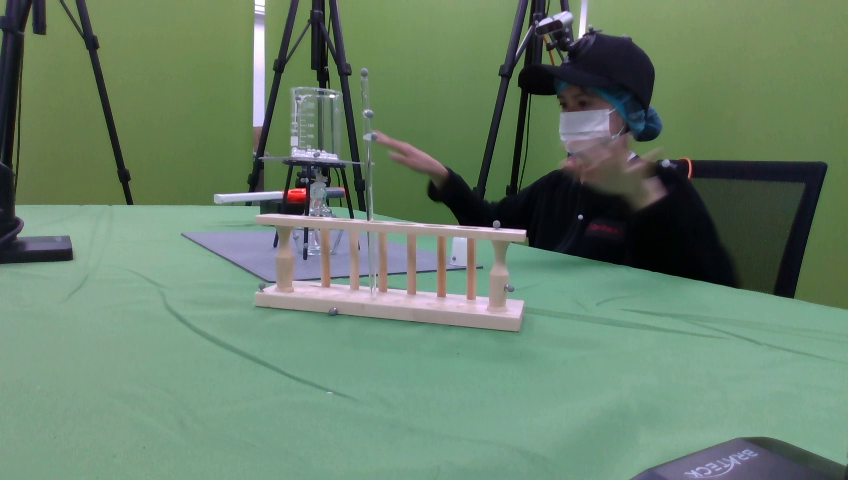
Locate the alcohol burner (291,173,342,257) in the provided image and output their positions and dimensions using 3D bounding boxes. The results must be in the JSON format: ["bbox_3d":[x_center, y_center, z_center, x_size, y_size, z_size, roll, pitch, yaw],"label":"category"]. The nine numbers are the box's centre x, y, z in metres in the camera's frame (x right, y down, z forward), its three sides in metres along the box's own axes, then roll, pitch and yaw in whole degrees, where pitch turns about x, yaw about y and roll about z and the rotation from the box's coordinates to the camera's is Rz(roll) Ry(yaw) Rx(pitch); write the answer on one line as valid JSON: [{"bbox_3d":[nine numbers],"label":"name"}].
[{"bbox_3d":[-0.155,-0.037,0.870,0.078,0.119,0.078,1,6,0],"label":"alcohol burner"}]

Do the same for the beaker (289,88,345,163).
[{"bbox_3d":[-0.157,-0.160,0.862,0.083,0.100,0.074,7,7,34],"label":"beaker"}]

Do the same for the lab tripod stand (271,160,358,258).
[{"bbox_3d":[-0.159,-0.048,0.876,0.148,0.131,0.148,3,5,0],"label":"lab tripod stand"}]

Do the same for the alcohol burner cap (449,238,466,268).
[{"bbox_3d":[0.051,0.014,0.828,0.034,0.048,0.034,3,5,0],"label":"alcohol burner cap"}]

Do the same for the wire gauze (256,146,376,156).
[{"bbox_3d":[-0.155,-0.128,0.871,0.124,0.011,0.122,2,7,36],"label":"wire gauze"}]

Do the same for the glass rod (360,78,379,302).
[{"bbox_3d":[-0.047,-0.038,0.526,0.008,0.199,0.008,-2,14,1],"label":"glass rod"}]

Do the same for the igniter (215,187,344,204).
[{"bbox_3d":[-0.290,-0.093,1.256,0.278,0.025,0.057,-6,11,-34],"label":"igniter"}]

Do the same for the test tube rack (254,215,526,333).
[{"bbox_3d":[-0.030,0.025,0.558,0.242,0.085,0.067,4,7,12],"label":"test tube rack"}]
